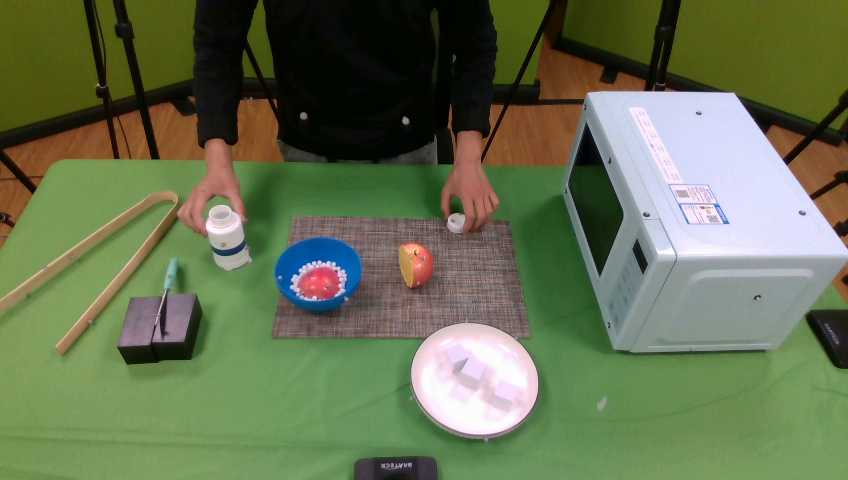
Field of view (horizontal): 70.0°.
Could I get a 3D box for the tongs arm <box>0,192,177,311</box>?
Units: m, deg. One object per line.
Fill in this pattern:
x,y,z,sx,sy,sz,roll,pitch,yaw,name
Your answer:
-0.618,0.019,1.123,0.050,0.026,0.384,23,47,17,tongs arm

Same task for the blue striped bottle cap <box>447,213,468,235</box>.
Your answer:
0.069,-0.033,1.239,0.044,0.021,0.044,0,46,0,blue striped bottle cap

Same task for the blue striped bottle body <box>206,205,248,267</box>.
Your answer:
-0.361,-0.010,1.110,0.063,0.121,0.062,4,49,-4,blue striped bottle body

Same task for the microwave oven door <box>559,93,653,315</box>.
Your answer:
0.327,-0.074,1.123,0.039,0.245,0.353,-1,46,-5,microwave oven door

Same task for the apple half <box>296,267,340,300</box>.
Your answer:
-0.186,0.071,1.067,0.081,0.033,0.081,2,47,-2,apple half

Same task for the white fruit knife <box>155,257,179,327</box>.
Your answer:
-0.440,0.085,1.037,0.016,0.027,0.206,10,26,-19,white fruit knife

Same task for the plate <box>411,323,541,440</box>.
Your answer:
0.082,0.228,0.976,0.208,0.039,0.206,2,45,-2,plate

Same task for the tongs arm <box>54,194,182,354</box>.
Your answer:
-0.543,0.048,1.107,0.028,0.028,0.385,11,45,10,tongs arm

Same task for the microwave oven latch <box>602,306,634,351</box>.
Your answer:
0.332,0.153,1.044,0.030,0.029,0.078,-1,45,-4,microwave oven latch

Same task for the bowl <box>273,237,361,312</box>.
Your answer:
-0.186,0.075,1.069,0.151,0.077,0.150,3,45,-3,bowl

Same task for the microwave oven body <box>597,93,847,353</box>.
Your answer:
0.475,-0.041,1.109,0.326,0.261,0.438,-1,45,-4,microwave oven body

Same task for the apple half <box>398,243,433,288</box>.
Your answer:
-0.012,0.047,1.115,0.053,0.075,0.080,-11,44,-19,apple half
